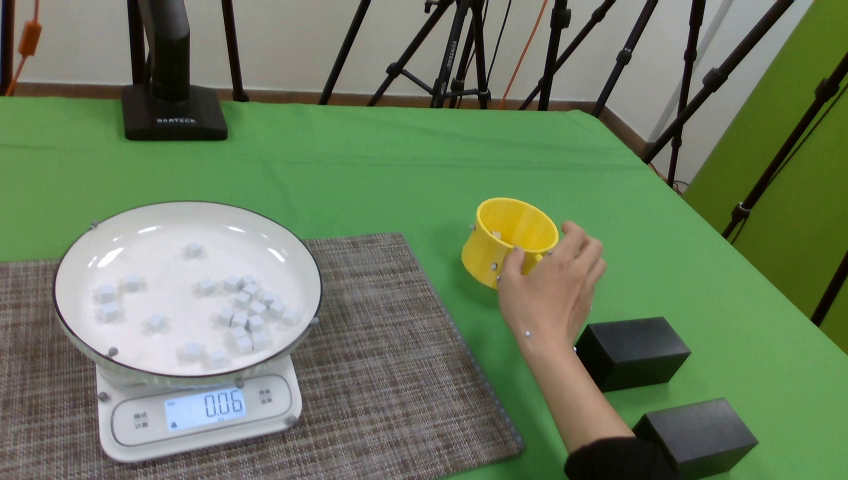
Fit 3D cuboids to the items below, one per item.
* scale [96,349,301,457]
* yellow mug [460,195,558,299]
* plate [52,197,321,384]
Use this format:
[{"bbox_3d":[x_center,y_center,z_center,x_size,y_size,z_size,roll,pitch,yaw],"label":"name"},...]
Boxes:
[{"bbox_3d":[-0.198,0.080,0.520,0.149,0.032,0.198,-5,44,-26],"label":"scale"},{"bbox_3d":[0.105,0.013,0.704,0.100,0.064,0.129,-6,45,-28],"label":"yellow mug"},{"bbox_3d":[-0.195,0.040,0.517,0.210,0.038,0.207,12,39,-9],"label":"plate"}]
